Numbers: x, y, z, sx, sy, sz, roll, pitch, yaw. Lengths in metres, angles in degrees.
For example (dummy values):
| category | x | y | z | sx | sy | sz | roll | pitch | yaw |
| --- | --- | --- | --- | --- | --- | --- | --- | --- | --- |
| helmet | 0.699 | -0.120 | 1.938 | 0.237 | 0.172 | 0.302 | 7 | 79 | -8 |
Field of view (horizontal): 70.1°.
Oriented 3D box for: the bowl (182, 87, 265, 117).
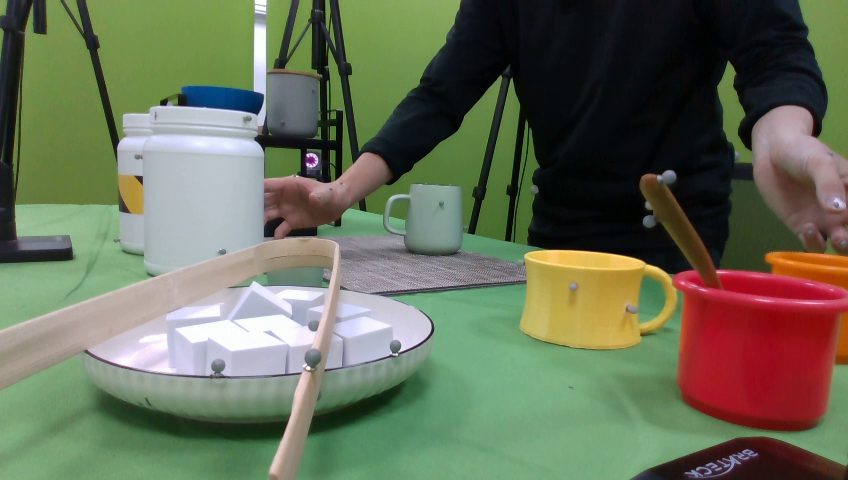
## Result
| category | x | y | z | sx | sy | sz | roll | pitch | yaw |
| --- | --- | --- | --- | --- | --- | --- | --- | --- | --- |
| bowl | -0.383 | -0.243 | 1.158 | 0.151 | 0.077 | 0.151 | 2 | 7 | 0 |

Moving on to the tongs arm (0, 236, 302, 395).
| category | x | y | z | sx | sy | sz | roll | pitch | yaw |
| --- | --- | --- | --- | --- | --- | --- | --- | --- | --- |
| tongs arm | -0.157 | 0.039 | 0.347 | 0.028 | 0.028 | 0.388 | -3 | 8 | 12 |

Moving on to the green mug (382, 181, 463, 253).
| category | x | y | z | sx | sy | sz | roll | pitch | yaw |
| --- | --- | --- | --- | --- | --- | --- | --- | --- | --- |
| green mug | -0.001 | -0.036 | 0.922 | 0.126 | 0.105 | 0.092 | 0 | 8 | -16 |

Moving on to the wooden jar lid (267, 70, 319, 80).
| category | x | y | z | sx | sy | sz | roll | pitch | yaw |
| --- | --- | --- | --- | --- | --- | --- | --- | --- | --- |
| wooden jar lid | -0.275 | -0.339 | 1.271 | 0.108 | 0.020 | 0.108 | 5 | 6 | 0 |

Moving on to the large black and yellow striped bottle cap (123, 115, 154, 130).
| category | x | y | z | sx | sy | sz | roll | pitch | yaw |
| --- | --- | --- | --- | --- | --- | --- | --- | --- | --- |
| large black and yellow striped bottle cap | -0.353 | -0.159 | 0.838 | 0.115 | 0.019 | 0.115 | 2 | 6 | 0 |

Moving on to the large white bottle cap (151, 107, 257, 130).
| category | x | y | z | sx | sy | sz | roll | pitch | yaw |
| --- | --- | --- | --- | --- | --- | --- | --- | --- | --- |
| large white bottle cap | -0.250 | -0.138 | 0.692 | 0.115 | 0.018 | 0.115 | 3 | 7 | 0 |

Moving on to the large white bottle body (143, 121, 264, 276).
| category | x | y | z | sx | sy | sz | roll | pitch | yaw |
| --- | --- | --- | --- | --- | --- | --- | --- | --- | --- |
| large white bottle body | -0.254 | -0.054 | 0.702 | 0.131 | 0.184 | 0.130 | 2 | 8 | 0 |

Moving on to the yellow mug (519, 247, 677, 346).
| category | x | y | z | sx | sy | sz | roll | pitch | yaw |
| --- | --- | --- | --- | --- | --- | --- | --- | --- | --- |
| yellow mug | 0.148 | 0.045 | 0.513 | 0.131 | 0.064 | 0.100 | 3 | 7 | 0 |

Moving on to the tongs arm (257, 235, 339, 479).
| category | x | y | z | sx | sy | sz | roll | pitch | yaw |
| --- | --- | --- | --- | --- | --- | --- | --- | --- | --- |
| tongs arm | -0.074 | 0.040 | 0.345 | 0.051 | 0.026 | 0.384 | -2 | 10 | -3 |

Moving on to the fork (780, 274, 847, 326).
| category | x | y | z | sx | sy | sz | roll | pitch | yaw |
| --- | --- | --- | --- | --- | --- | --- | --- | --- | --- |
| fork | 0.332 | 0.018 | 0.443 | 0.028 | 0.018 | 0.207 | -3 | -35 | -16 |

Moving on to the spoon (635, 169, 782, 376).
| category | x | y | z | sx | sy | sz | roll | pitch | yaw |
| --- | --- | --- | --- | --- | --- | --- | --- | --- | --- |
| spoon | 0.161 | 0.026 | 0.346 | 0.041 | 0.194 | 0.021 | 10 | 56 | 53 |

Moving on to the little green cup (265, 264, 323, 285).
| category | x | y | z | sx | sy | sz | roll | pitch | yaw |
| --- | --- | --- | --- | --- | --- | --- | --- | --- | --- |
| little green cup | -0.134 | 0.033 | 0.627 | 0.061 | 0.038 | 0.061 | 3 | 6 | 0 |

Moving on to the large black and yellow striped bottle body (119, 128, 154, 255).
| category | x | y | z | sx | sy | sz | roll | pitch | yaw |
| --- | --- | --- | --- | --- | --- | --- | --- | --- | --- |
| large black and yellow striped bottle body | -0.355 | -0.076 | 0.850 | 0.131 | 0.184 | 0.130 | 2 | 8 | 0 |

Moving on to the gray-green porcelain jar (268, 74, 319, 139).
| category | x | y | z | sx | sy | sz | roll | pitch | yaw |
| --- | --- | --- | --- | --- | --- | --- | --- | --- | --- |
| gray-green porcelain jar | -0.277 | -0.279 | 1.280 | 0.106 | 0.126 | 0.106 | 2 | 8 | 0 |

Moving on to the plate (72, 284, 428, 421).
| category | x | y | z | sx | sy | sz | roll | pitch | yaw |
| --- | --- | --- | --- | --- | --- | --- | --- | --- | --- |
| plate | -0.102 | 0.067 | 0.381 | 0.208 | 0.039 | 0.207 | 3 | 7 | 0 |

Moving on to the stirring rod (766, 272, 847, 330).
| category | x | y | z | sx | sy | sz | roll | pitch | yaw |
| --- | --- | --- | --- | --- | --- | --- | --- | --- | --- |
| stirring rod | 0.352 | 0.020 | 0.481 | 0.176 | 0.006 | 0.014 | -40 | -9 | 17 |
